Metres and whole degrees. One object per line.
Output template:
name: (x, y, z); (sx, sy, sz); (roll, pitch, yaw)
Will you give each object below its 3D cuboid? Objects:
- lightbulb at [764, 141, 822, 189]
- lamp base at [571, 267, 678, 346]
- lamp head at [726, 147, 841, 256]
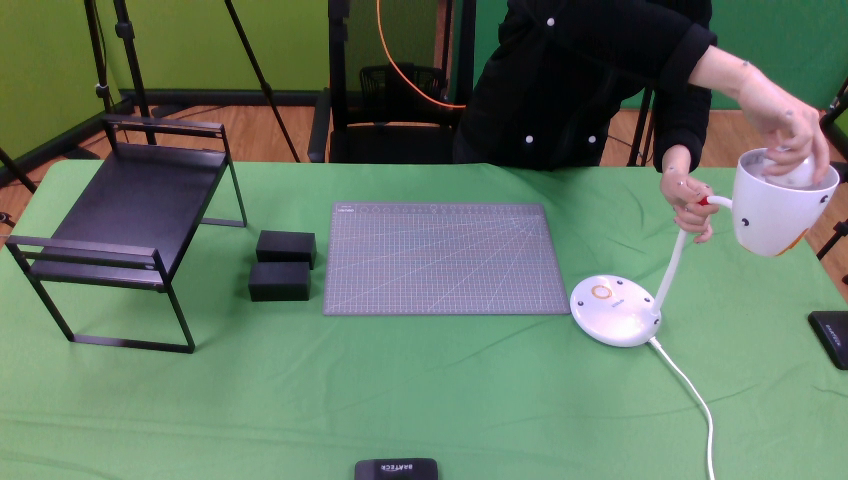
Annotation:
lightbulb: (0.441, -0.068, 0.738); (0.059, 0.108, 0.059); (-1, 32, 1)
lamp base: (0.359, 0.077, 1.038); (0.160, 0.181, 0.178); (-34, 59, -31)
lamp head: (0.435, -0.044, 0.759); (0.112, 0.123, 0.111); (1, 40, 0)
